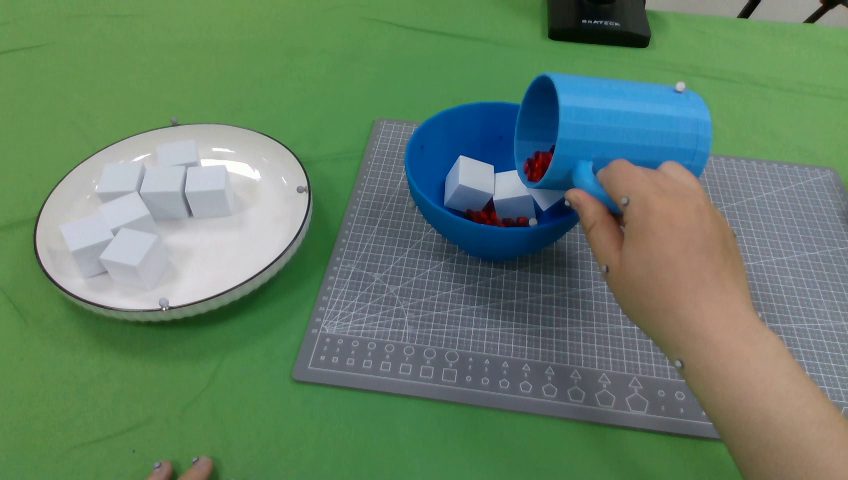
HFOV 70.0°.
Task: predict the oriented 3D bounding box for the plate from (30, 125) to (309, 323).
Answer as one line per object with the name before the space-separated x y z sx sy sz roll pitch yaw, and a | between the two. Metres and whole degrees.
plate | -0.196 -0.015 0.489 0.209 0.038 0.207 2 48 -2

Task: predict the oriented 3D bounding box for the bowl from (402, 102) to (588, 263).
bowl | 0.057 -0.035 0.488 0.151 0.077 0.150 1 48 -1

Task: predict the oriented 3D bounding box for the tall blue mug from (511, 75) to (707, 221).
tall blue mug | 0.127 -0.063 0.403 0.108 0.078 0.106 2 18 -14
